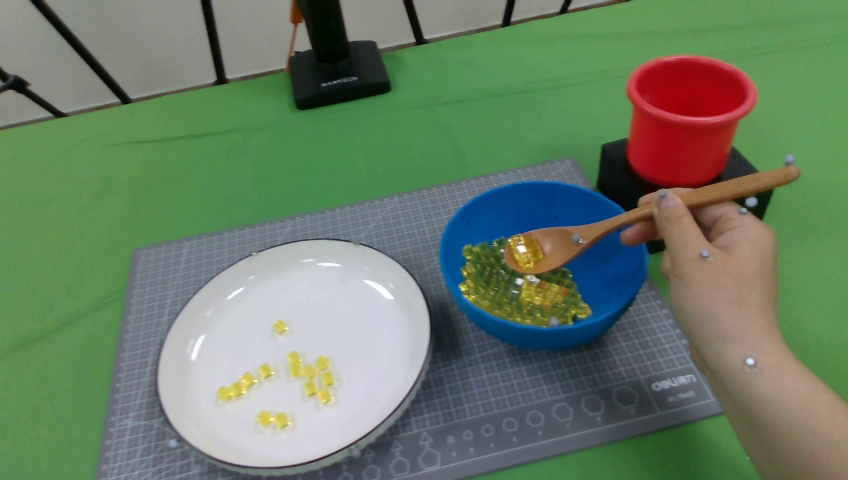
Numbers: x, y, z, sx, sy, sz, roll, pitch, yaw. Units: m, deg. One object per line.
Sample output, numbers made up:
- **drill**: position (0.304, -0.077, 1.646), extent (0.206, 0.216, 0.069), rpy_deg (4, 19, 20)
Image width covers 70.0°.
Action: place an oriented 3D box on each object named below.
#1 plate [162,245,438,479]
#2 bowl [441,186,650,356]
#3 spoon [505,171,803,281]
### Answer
- **plate**: position (-0.092, 0.089, 0.470), extent (0.207, 0.039, 0.205), rpy_deg (-4, 45, 4)
- **bowl**: position (0.091, 0.036, 0.468), extent (0.151, 0.077, 0.150), rpy_deg (-4, 45, 4)
- **spoon**: position (0.142, -0.009, 0.402), extent (0.193, 0.022, 0.041), rpy_deg (-22, 39, 33)
